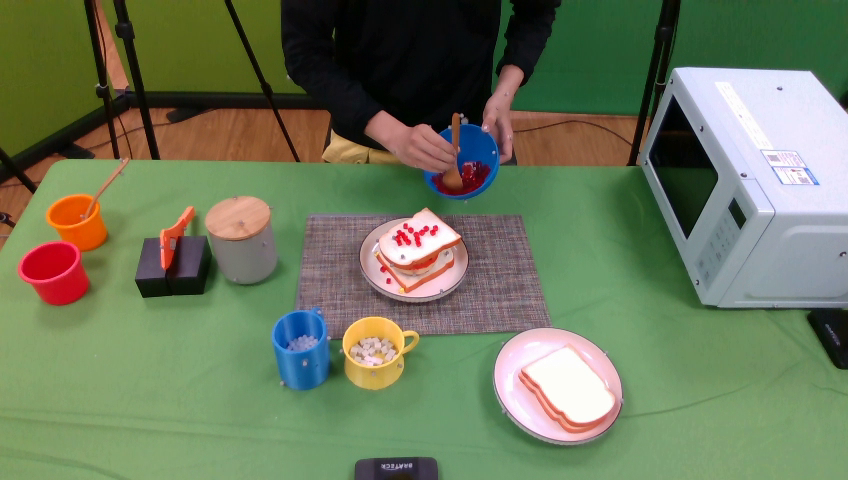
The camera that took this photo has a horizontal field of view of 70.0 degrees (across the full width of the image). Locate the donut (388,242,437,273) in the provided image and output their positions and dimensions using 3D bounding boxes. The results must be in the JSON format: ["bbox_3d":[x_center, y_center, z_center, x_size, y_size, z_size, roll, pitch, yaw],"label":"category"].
[{"bbox_3d":[-0.023,0.018,1.120,0.099,0.048,0.098,-10,48,11],"label":"donut"}]

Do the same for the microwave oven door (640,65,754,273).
[{"bbox_3d":[0.523,-0.147,1.193,0.039,0.245,0.353,0,47,-3],"label":"microwave oven door"}]

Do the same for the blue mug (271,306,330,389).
[{"bbox_3d":[-0.188,0.163,0.969,0.082,0.106,0.116,15,47,10],"label":"blue mug"}]

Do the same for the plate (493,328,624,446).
[{"bbox_3d":[0.213,0.236,0.974,0.208,0.039,0.206,2,46,-2],"label":"plate"}]

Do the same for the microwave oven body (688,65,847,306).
[{"bbox_3d":[0.669,-0.111,1.176,0.326,0.261,0.439,0,46,-3],"label":"microwave oven body"}]

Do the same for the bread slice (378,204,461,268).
[{"bbox_3d":[-0.014,-0.003,1.097,0.134,0.018,0.106,-35,51,-22],"label":"bread slice"}]

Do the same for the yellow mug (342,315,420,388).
[{"bbox_3d":[-0.068,0.177,0.990,0.131,0.064,0.099,-15,50,-19],"label":"yellow mug"}]

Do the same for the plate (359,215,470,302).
[{"bbox_3d":[-0.019,0.038,1.140,0.209,0.038,0.208,2,46,-2],"label":"plate"}]

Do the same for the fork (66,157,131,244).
[{"bbox_3d":[-0.608,-0.074,1.132,0.207,0.019,0.028,-52,48,10],"label":"fork"}]

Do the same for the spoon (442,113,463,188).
[{"bbox_3d":[0.053,-0.153,1.062,0.041,0.195,0.021,19,55,14],"label":"spoon"}]

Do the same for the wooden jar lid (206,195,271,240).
[{"bbox_3d":[-0.319,-0.036,1.046,0.108,0.021,0.107,1,44,0],"label":"wooden jar lid"}]

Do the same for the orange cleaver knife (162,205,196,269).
[{"bbox_3d":[-0.454,-0.010,1.129,0.012,0.077,0.210,-2,20,-5],"label":"orange cleaver knife"}]

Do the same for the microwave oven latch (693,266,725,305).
[{"bbox_3d":[0.523,0.081,1.115,0.030,0.029,0.078,3,46,0],"label":"microwave oven latch"}]

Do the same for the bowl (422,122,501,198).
[{"bbox_3d":[0.080,-0.140,1.155,0.151,0.077,0.150,-7,71,19],"label":"bowl"}]

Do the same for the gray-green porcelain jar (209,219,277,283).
[{"bbox_3d":[-0.323,0.007,1.092,0.106,0.127,0.105,2,46,-2],"label":"gray-green porcelain jar"}]

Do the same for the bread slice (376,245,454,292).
[{"bbox_3d":[-0.010,0.033,1.149,0.131,0.019,0.104,-27,55,-25],"label":"bread slice"}]
